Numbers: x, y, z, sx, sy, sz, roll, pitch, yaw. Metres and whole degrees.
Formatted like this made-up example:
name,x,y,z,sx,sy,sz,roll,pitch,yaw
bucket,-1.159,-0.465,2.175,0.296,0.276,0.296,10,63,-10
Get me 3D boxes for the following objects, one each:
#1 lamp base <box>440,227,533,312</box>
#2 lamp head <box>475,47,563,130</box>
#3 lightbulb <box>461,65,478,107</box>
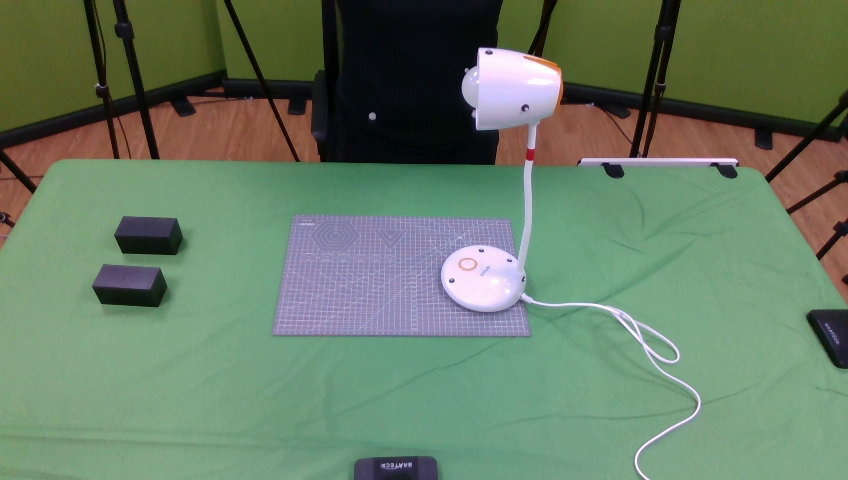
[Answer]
name,x,y,z,sx,sy,sz,roll,pitch,yaw
lamp base,0.126,0.021,1.073,0.179,0.181,0.160,22,49,13
lamp head,0.129,-0.206,0.840,0.123,0.113,0.112,5,45,-1
lightbulb,0.106,-0.214,0.850,0.108,0.060,0.059,4,45,-2
